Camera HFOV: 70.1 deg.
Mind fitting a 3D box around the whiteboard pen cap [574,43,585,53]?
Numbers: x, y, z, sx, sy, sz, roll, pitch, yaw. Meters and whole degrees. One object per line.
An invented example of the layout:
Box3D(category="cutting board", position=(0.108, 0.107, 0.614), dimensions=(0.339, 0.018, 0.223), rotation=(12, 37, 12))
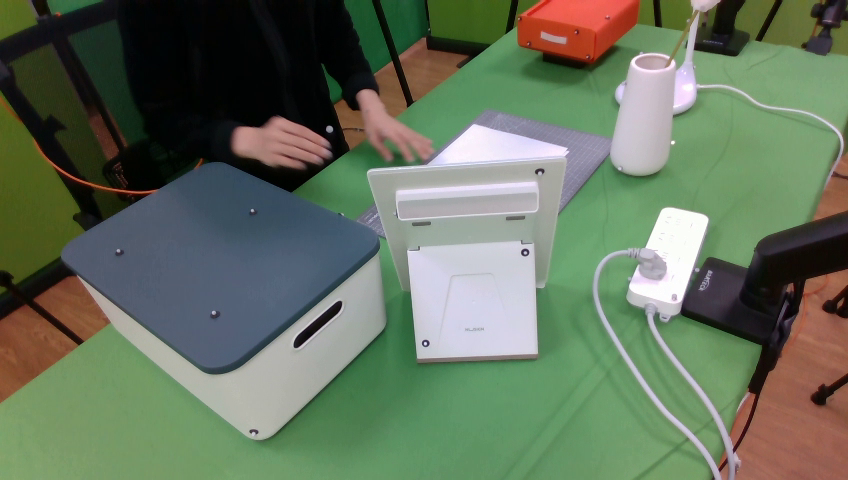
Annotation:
Box3D(category="whiteboard pen cap", position=(0.346, -0.430, 1.350), dimensions=(0.018, 0.018, 0.033), rotation=(16, 39, 25))

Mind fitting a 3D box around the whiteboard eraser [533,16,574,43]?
Box3D(category="whiteboard eraser", position=(0.305, -0.493, 1.422), dimensions=(0.055, 0.042, 0.113), rotation=(27, 43, 25))

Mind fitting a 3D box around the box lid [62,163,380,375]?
Box3D(category="box lid", position=(-0.263, 0.012, 0.774), dimensions=(0.368, 0.015, 0.264), rotation=(23, 49, 32))

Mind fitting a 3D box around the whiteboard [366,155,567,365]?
Box3D(category="whiteboard", position=(0.059, 0.049, 0.738), dimensions=(0.217, 0.307, 0.143), rotation=(-3, 60, 5))

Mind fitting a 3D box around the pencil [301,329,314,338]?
Box3D(category="pencil", position=(-0.202, 0.114, 0.876), dimensions=(0.192, 0.012, 0.012), rotation=(22, 48, 38))

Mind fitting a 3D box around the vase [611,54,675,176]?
Box3D(category="vase", position=(0.377, -0.209, 1.031), dimensions=(0.098, 0.201, 0.097), rotation=(-3, 40, 3))

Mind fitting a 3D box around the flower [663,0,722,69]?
Box3D(category="flower", position=(0.379, -0.261, 0.965), dimensions=(0.044, 0.362, 0.038), rotation=(21, 53, 5))

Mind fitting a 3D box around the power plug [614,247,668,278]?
Box3D(category="power plug", position=(0.306, 0.031, 0.851), dimensions=(0.072, 0.053, 0.035), rotation=(24, 49, 33))

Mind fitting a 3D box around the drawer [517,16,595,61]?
Box3D(category="drawer", position=(0.353, -0.505, 1.404), dimensions=(0.193, 0.073, 0.212), rotation=(25, 50, 33))

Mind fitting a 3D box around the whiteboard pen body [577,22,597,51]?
Box3D(category="whiteboard pen body", position=(0.372, -0.468, 1.390), dimensions=(0.017, 0.017, 0.141), rotation=(14, 47, 23))

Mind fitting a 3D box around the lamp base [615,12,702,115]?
Box3D(category="lamp base", position=(0.484, -0.364, 1.211), dimensions=(0.180, 0.181, 0.159), rotation=(-15, 41, -14))

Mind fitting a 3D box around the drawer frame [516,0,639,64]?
Box3D(category="drawer frame", position=(0.356, -0.507, 1.410), dimensions=(0.200, 0.083, 0.214), rotation=(25, 51, 32))

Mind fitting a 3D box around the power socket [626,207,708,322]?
Box3D(category="power socket", position=(0.359, 0.026, 0.886), dimensions=(0.072, 0.033, 0.227), rotation=(16, 46, 26))

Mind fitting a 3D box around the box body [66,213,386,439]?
Box3D(category="box body", position=(-0.257, 0.068, 0.824), dimensions=(0.361, 0.161, 0.255), rotation=(24, 49, 31))
